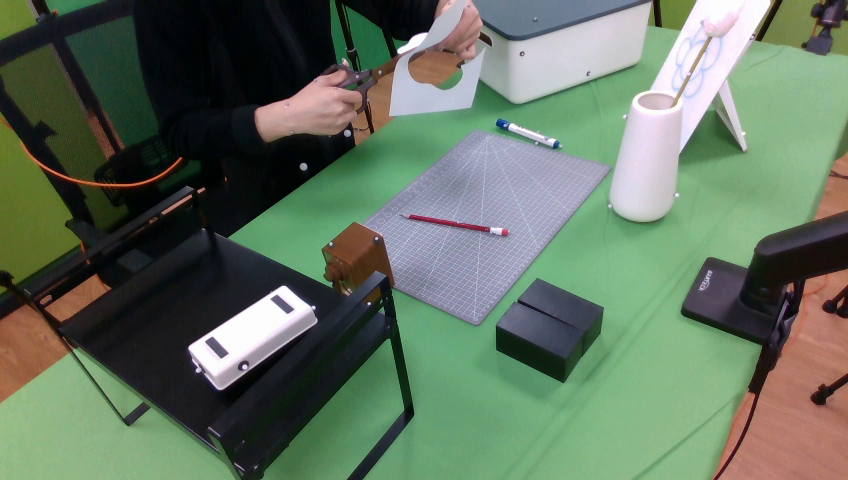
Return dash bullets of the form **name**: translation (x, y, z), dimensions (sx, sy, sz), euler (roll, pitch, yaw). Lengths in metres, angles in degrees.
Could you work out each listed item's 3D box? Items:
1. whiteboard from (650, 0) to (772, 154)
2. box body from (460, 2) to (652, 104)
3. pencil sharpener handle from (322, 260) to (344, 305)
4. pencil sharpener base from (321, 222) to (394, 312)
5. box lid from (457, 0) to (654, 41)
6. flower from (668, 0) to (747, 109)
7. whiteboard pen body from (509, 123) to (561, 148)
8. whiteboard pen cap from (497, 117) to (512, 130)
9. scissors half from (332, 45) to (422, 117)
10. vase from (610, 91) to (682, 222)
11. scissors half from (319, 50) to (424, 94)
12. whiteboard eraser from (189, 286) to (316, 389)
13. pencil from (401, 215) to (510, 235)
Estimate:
- **whiteboard**: translation (0.543, -0.298, 1.076), dimensions (0.144, 0.305, 0.216), euler (12, 40, -7)
- **box body**: translation (0.291, -0.465, 1.371), dimensions (0.365, 0.161, 0.252), euler (-22, 42, -16)
- **pencil sharpener handle**: translation (-0.131, 0.061, 0.839), dimensions (0.035, 0.068, 0.031), euler (29, 56, 28)
- **pencil sharpener base**: translation (-0.096, 0.041, 0.873), dimensions (0.061, 0.107, 0.077), euler (26, 54, 32)
- **box lid**: translation (0.285, -0.522, 1.323), dimensions (0.373, 0.015, 0.261), euler (-22, 43, -16)
- **flower**: translation (0.354, -0.187, 0.879), dimensions (0.038, 0.362, 0.044), euler (30, 48, 14)
- **whiteboard pen body**: translation (0.209, -0.211, 1.195), dimensions (0.139, 0.017, 0.017), euler (30, 52, 33)
- **whiteboard pen cap**: translation (0.165, -0.235, 1.227), dimensions (0.033, 0.018, 0.018), euler (31, 53, 30)
- **scissors half**: translation (-0.071, -0.242, 0.922), dimensions (0.174, 0.040, 0.013), euler (-34, 18, 25)
- **vase**: translation (0.348, -0.125, 0.935), dimensions (0.098, 0.201, 0.097), euler (-3, 40, 3)
- **scissors half**: translation (-0.082, -0.259, 0.914), dimensions (0.175, 0.040, 0.013), euler (-12, 31, 15)
- **whiteboard eraser**: translation (-0.166, 0.096, 0.593), dimensions (0.113, 0.042, 0.055), euler (-36, 47, -29)
- **pencil**: translation (0.049, -0.027, 1.007), dimensions (0.193, 0.012, 0.012), euler (10, 43, 21)
